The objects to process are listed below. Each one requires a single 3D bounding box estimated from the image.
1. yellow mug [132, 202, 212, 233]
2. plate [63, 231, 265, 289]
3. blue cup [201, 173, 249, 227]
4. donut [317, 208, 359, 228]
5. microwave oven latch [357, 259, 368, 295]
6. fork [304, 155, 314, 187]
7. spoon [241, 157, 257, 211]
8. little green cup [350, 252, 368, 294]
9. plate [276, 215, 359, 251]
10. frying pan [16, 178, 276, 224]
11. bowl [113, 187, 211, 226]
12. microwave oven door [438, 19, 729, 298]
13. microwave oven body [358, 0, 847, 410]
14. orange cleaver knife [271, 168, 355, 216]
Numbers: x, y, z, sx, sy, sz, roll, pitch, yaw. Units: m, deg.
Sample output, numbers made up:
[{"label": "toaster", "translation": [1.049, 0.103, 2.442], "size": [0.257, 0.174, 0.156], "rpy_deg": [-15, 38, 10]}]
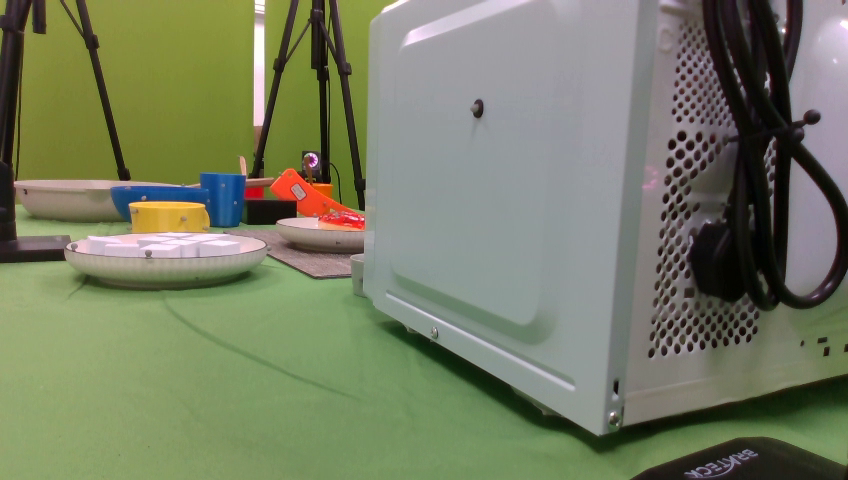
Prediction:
[{"label": "yellow mug", "translation": [-0.356, -0.020, 0.878], "size": [0.099, 0.064, 0.131], "rpy_deg": [5, 7, 21]}, {"label": "plate", "translation": [-0.288, 0.021, 0.687], "size": [0.208, 0.039, 0.207], "rpy_deg": [2, 8, 0]}, {"label": "blue cup", "translation": [-0.384, -0.076, 1.164], "size": [0.093, 0.100, 0.092], "rpy_deg": [2, 5, 0]}, {"label": "donut", "translation": [-0.118, -0.024, 0.954], "size": [0.099, 0.048, 0.099], "rpy_deg": [6, 7, 0]}, {"label": "microwave oven latch", "translation": [-0.019, 0.031, 0.529], "size": [0.079, 0.029, 0.030], "rpy_deg": [-1, 7, -26]}, {"label": "fork", "translation": [-0.268, -0.134, 1.446], "size": [0.028, 0.018, 0.207], "rpy_deg": [1, -36, -1]}, {"label": "spoon", "translation": [-0.432, -0.140, 1.472], "size": [0.042, 0.021, 0.193], "rpy_deg": [-1, 52, -20]}, {"label": "little green cup", "translation": [-0.048, 0.034, 0.633], "size": [0.061, 0.038, 0.061], "rpy_deg": [3, 7, 0]}, {"label": "plate", "translation": [-0.126, -0.012, 0.950], "size": [0.209, 0.038, 0.209], "rpy_deg": [2, 7, 0]}, {"label": "frying pan", "translation": [-0.553, -0.097, 1.266], "size": [0.490, 0.102, 0.305], "rpy_deg": [-10, 13, -24]}, {"label": "bowl", "translation": [-0.436, -0.046, 1.013], "size": [0.151, 0.077, 0.151], "rpy_deg": [2, 7, 0]}, {"label": "microwave oven door", "translation": [0.181, -0.076, 0.618], "size": [0.358, 0.243, 0.039], "rpy_deg": [-2, 8, -28]}, {"label": "microwave oven body", "translation": [0.210, -0.051, 0.471], "size": [0.444, 0.260, 0.324], "rpy_deg": [-1, 7, -28]}, {"label": "orange cleaver knife", "translation": [-0.236, -0.084, 1.333], "size": [0.212, 0.077, 0.012], "rpy_deg": [31, -9, -32]}]
